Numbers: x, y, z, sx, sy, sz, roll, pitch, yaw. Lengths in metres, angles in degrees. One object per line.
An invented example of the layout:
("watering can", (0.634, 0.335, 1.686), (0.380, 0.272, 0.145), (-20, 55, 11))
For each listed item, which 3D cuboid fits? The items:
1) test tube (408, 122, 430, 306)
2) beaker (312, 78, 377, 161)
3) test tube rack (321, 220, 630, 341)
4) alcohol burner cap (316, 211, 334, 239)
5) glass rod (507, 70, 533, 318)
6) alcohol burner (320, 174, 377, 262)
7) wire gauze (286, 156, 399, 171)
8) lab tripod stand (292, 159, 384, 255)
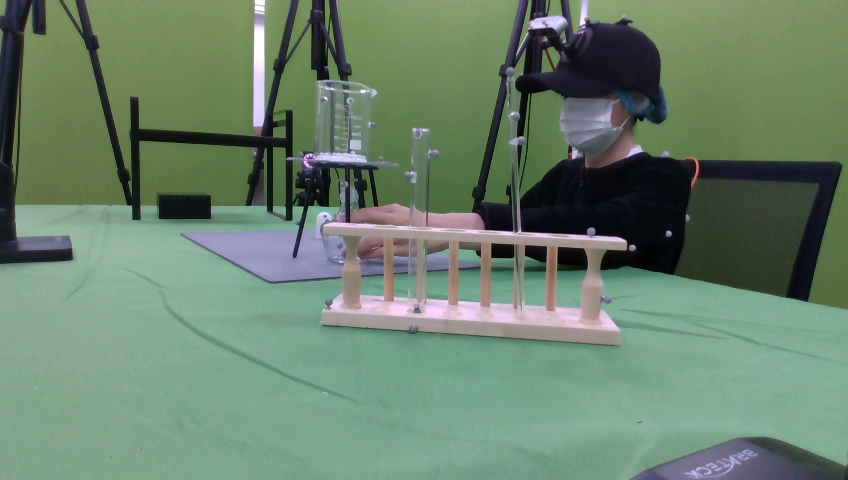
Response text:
("test tube", (-0.004, -0.019, 0.489), (0.017, 0.150, 0.017), (1, 11, 0))
("beaker", (-0.103, -0.151, 0.776), (0.084, 0.100, 0.074), (5, 6, 14))
("test tube rack", (0.041, 0.029, 0.512), (0.242, 0.085, 0.067), (3, 7, 5))
("alcohol burner cap", (-0.171, -0.027, 1.048), (0.034, 0.048, 0.034), (2, 8, 0))
("glass rod", (0.076, -0.031, 0.476), (0.008, 0.199, 0.008), (-6, 12, 2))
("alcohol burner", (-0.100, -0.030, 0.807), (0.078, 0.119, 0.078), (0, 7, 0))
("wire gauze", (-0.101, -0.103, 0.788), (0.121, 0.011, 0.125), (5, 4, 6))
("lab tripod stand", (-0.105, -0.039, 0.798), (0.148, 0.131, 0.148), (2, 5, 0))
